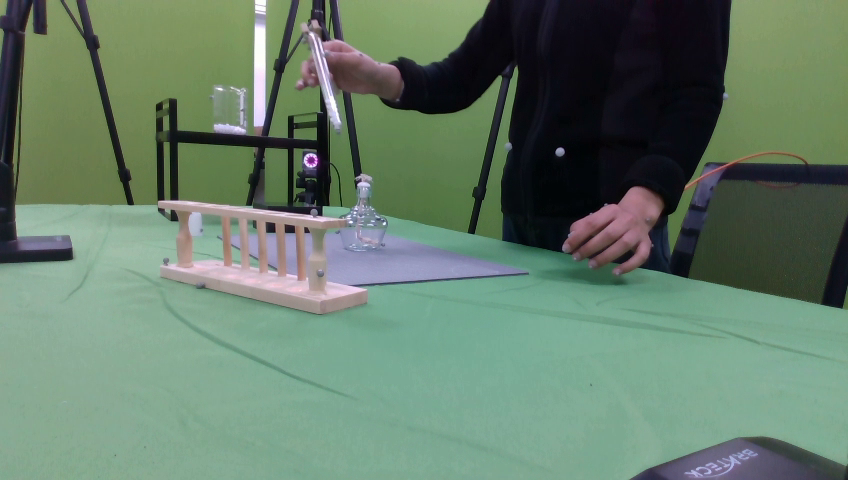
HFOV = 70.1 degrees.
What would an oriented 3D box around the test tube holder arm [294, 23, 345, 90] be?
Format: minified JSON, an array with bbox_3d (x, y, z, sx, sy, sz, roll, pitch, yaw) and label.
[{"bbox_3d":[-0.152,-0.269,0.899,0.013,0.015,0.179,-29,-15,3],"label":"test tube holder arm"}]

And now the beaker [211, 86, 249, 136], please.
[{"bbox_3d":[-0.413,-0.274,1.297,0.074,0.100,0.083,-5,11,-44],"label":"beaker"}]

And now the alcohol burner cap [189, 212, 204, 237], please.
[{"bbox_3d":[-0.390,-0.029,1.026,0.034,0.048,0.034,2,8,0],"label":"alcohol burner cap"}]

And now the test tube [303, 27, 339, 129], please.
[{"bbox_3d":[-0.139,-0.220,0.821,0.017,0.150,0.017,-16,-11,-3],"label":"test tube"}]

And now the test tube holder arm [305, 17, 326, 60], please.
[{"bbox_3d":[-0.153,-0.282,0.856,0.010,0.015,0.088,-27,-15,-7],"label":"test tube holder arm"}]

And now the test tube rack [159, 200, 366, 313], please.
[{"bbox_3d":[-0.173,0.009,0.624,0.241,0.085,0.067,7,9,34],"label":"test tube rack"}]

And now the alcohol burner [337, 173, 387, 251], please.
[{"bbox_3d":[-0.095,-0.043,0.926,0.078,0.119,0.078,3,6,0],"label":"alcohol burner"}]
